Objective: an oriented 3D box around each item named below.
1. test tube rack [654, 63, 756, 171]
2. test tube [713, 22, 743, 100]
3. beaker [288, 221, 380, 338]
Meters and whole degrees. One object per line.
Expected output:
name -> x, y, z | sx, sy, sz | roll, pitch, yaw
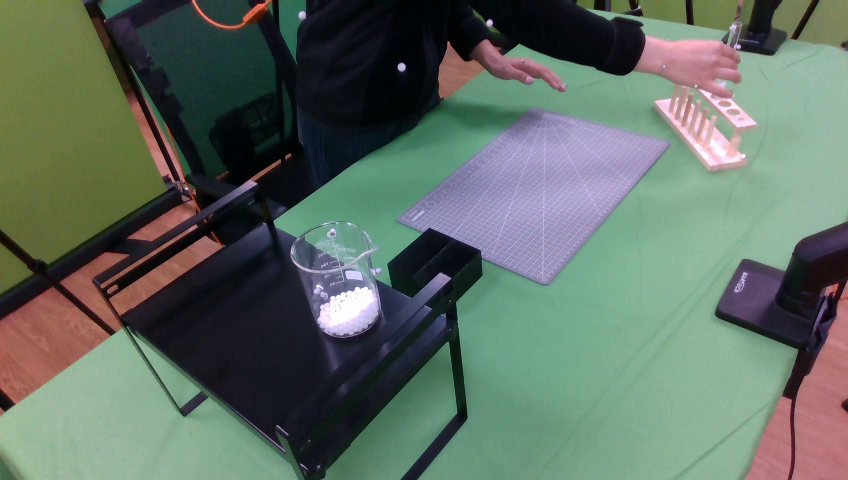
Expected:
test tube rack -> 0.510, -0.233, 1.120 | 0.067, 0.085, 0.241 | -9, 41, -1
test tube -> 0.519, -0.300, 1.035 | 0.017, 0.151, 0.017 | -5, 46, 5
beaker -> -0.082, 0.042, 0.602 | 0.084, 0.101, 0.073 | -5, 41, 3
